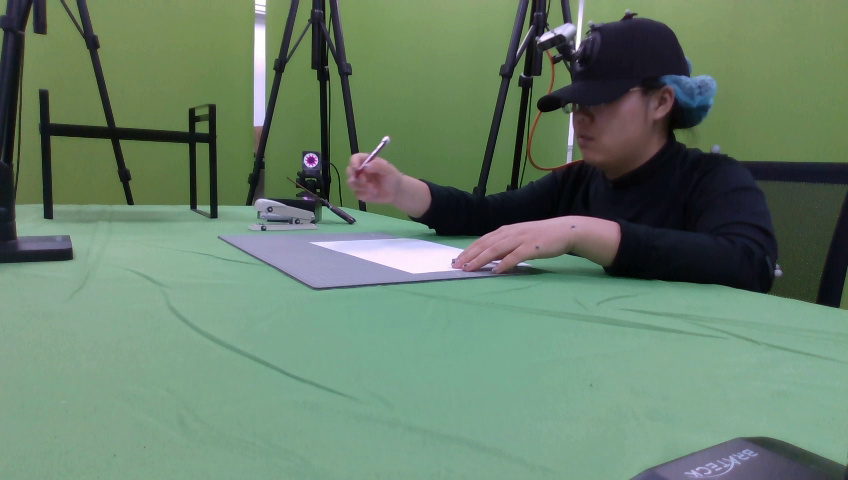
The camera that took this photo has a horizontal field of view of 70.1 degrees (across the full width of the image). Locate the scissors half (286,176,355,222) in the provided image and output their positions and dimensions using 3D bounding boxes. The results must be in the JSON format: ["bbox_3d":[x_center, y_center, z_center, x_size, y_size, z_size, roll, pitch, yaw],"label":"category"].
[{"bbox_3d":[-0.229,-0.091,1.337,0.175,0.013,0.040,33,15,-13],"label":"scissors half"}]

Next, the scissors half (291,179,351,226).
[{"bbox_3d":[-0.232,-0.085,1.317,0.175,0.013,0.040,38,20,4],"label":"scissors half"}]

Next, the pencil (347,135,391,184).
[{"bbox_3d":[-0.092,-0.138,1.022,0.012,0.012,0.194,5,33,17],"label":"pencil"}]

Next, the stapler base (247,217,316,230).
[{"bbox_3d":[-0.276,-0.033,1.172,0.131,0.024,0.041,0,10,-37],"label":"stapler base"}]

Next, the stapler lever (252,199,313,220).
[{"bbox_3d":[-0.273,-0.058,1.170,0.119,0.040,0.026,0,10,-37],"label":"stapler lever"}]
